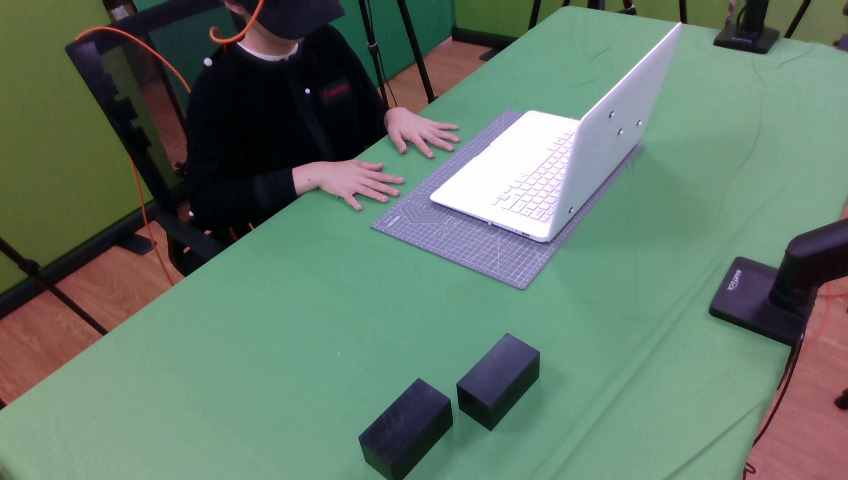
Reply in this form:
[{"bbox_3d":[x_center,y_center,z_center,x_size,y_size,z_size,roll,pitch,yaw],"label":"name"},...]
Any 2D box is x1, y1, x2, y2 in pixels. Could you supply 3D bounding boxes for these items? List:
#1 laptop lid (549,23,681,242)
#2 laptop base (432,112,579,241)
[{"bbox_3d":[0.304,-0.172,0.951,0.013,0.242,0.358,30,51,24],"label":"laptop lid"},{"bbox_3d":[0.208,-0.129,1.098,0.233,0.023,0.355,20,47,34],"label":"laptop base"}]
